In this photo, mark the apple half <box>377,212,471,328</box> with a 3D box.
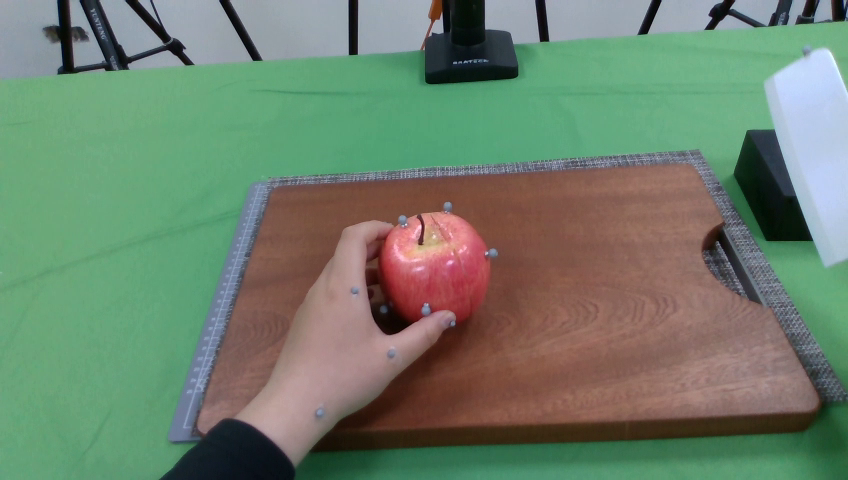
[{"bbox_3d":[-0.005,0.027,0.432,0.053,0.075,0.080,-22,48,-10],"label":"apple half"}]

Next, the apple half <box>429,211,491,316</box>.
[{"bbox_3d":[0.030,0.014,0.440,0.033,0.082,0.080,-22,45,-10],"label":"apple half"}]

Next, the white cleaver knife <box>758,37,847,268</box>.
[{"bbox_3d":[0.296,-0.016,0.417,0.021,0.066,0.284,6,64,-22],"label":"white cleaver knife"}]
